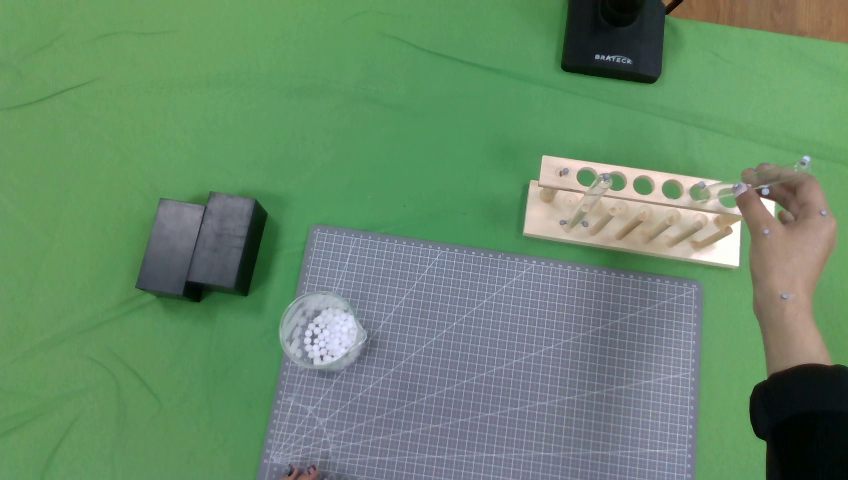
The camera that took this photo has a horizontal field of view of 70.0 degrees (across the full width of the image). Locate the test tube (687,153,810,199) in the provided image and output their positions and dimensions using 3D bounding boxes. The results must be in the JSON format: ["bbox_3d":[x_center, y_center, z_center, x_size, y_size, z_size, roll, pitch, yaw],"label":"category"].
[{"bbox_3d":[0.298,-0.057,0.571,0.017,0.150,0.017,1,83,-12],"label":"test tube"}]

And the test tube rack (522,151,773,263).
[{"bbox_3d":[0.237,-0.033,0.664,0.242,0.085,0.066,9,76,2],"label":"test tube rack"}]

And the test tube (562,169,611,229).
[{"bbox_3d":[0.164,-0.039,0.618,0.017,0.151,0.017,0,75,1],"label":"test tube"}]

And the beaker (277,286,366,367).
[{"bbox_3d":[-0.097,0.093,0.619,0.084,0.100,0.073,9,76,1],"label":"beaker"}]
